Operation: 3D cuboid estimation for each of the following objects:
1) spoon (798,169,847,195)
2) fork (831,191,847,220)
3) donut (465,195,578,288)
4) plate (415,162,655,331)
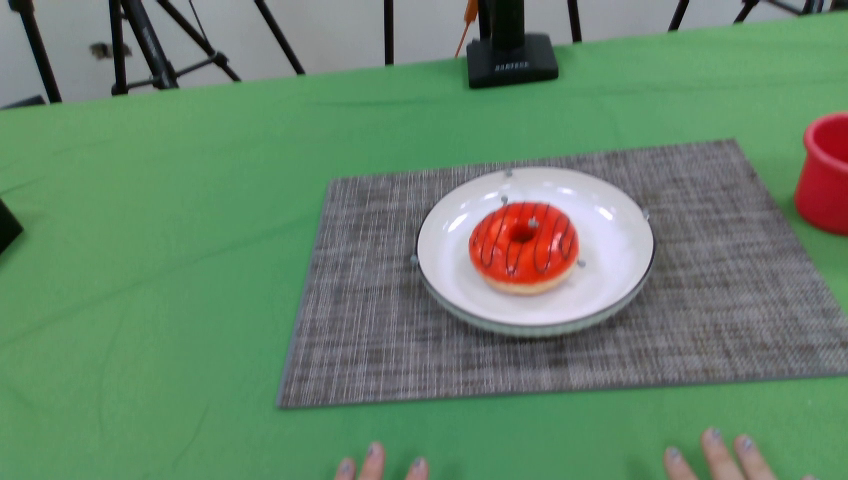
[{"bbox_3d":[0.392,-0.062,0.491,0.041,0.193,0.021,-34,92,-15],"label":"spoon"},{"bbox_3d":[0.421,-0.107,0.525,0.019,0.207,0.028,23,10,-17],"label":"fork"},{"bbox_3d":[0.086,0.001,0.537,0.099,0.049,0.098,-6,45,7],"label":"donut"},{"bbox_3d":[0.097,0.005,0.548,0.209,0.038,0.207,-5,42,5],"label":"plate"}]
